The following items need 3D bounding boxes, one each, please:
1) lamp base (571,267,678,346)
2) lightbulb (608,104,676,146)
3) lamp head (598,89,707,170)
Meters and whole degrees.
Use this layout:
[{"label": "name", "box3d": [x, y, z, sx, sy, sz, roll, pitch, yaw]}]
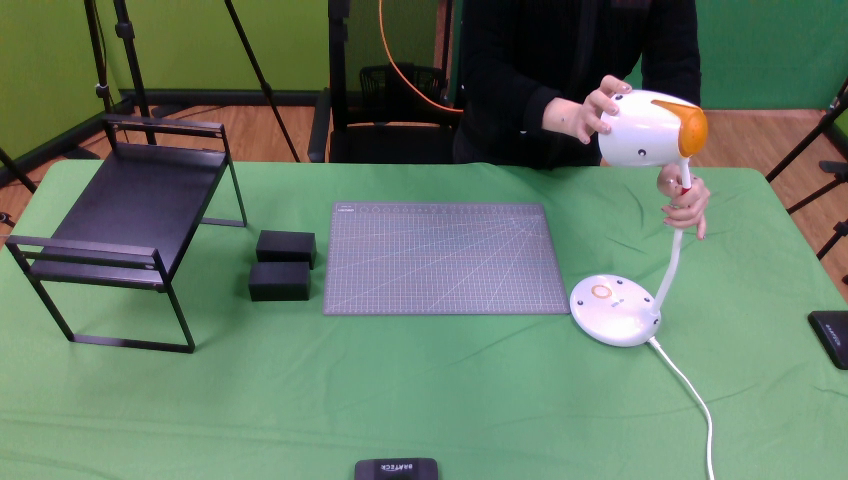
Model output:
[{"label": "lamp base", "box3d": [0.359, 0.077, 1.038, 0.160, 0.181, 0.178, -33, 59, -30]}, {"label": "lightbulb", "box3d": [0.308, -0.159, 0.853, 0.059, 0.060, 0.107, -21, 24, -22]}, {"label": "lamp head", "box3d": [0.320, -0.148, 0.834, 0.112, 0.113, 0.122, -31, 33, -29]}]
